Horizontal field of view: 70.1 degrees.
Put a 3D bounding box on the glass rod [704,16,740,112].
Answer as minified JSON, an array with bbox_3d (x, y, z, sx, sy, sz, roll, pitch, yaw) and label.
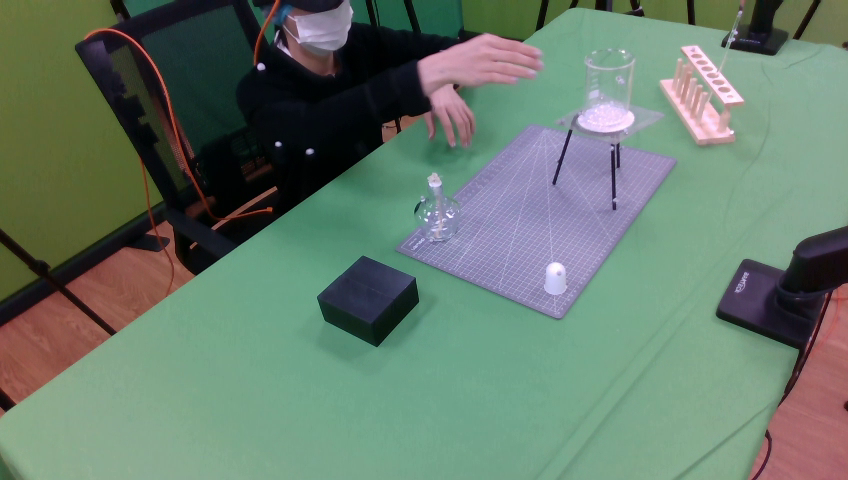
[{"bbox_3d":[0.549,-0.319,1.117,0.008,0.200,0.008,-2,47,3],"label":"glass rod"}]

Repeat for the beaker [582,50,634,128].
[{"bbox_3d":[0.285,-0.234,0.939,0.084,0.101,0.073,-28,43,-23],"label":"beaker"}]

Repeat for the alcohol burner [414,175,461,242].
[{"bbox_3d":[0.021,-0.055,0.963,0.078,0.119,0.077,-3,41,4],"label":"alcohol burner"}]

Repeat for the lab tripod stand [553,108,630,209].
[{"bbox_3d":[0.292,-0.144,1.010,0.148,0.132,0.147,-5,38,4],"label":"lab tripod stand"}]

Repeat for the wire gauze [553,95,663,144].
[{"bbox_3d":[0.293,-0.191,0.964,0.125,0.011,0.120,-29,45,-29],"label":"wire gauze"}]

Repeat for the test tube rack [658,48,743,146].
[{"bbox_3d":[0.532,-0.284,1.180,0.067,0.085,0.241,-5,40,4],"label":"test tube rack"}]

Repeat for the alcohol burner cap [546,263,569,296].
[{"bbox_3d":[0.191,0.053,0.862,0.034,0.048,0.033,-5,40,4],"label":"alcohol burner cap"}]
